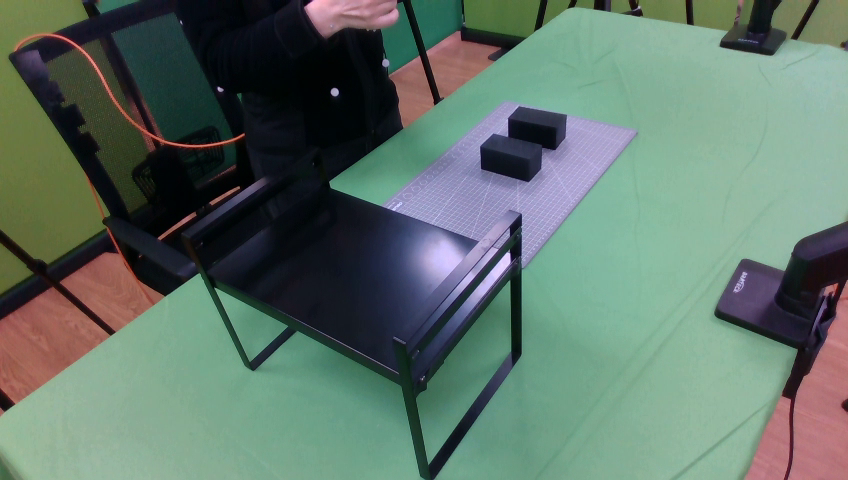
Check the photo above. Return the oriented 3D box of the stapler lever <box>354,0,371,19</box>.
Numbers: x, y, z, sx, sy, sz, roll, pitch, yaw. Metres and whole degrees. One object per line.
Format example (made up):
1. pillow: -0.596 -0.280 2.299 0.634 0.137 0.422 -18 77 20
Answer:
1. stapler lever: -0.071 -0.378 0.886 0.040 0.117 0.027 49 43 -2

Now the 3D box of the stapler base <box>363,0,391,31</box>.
1. stapler base: -0.059 -0.370 0.886 0.024 0.130 0.041 41 42 5
